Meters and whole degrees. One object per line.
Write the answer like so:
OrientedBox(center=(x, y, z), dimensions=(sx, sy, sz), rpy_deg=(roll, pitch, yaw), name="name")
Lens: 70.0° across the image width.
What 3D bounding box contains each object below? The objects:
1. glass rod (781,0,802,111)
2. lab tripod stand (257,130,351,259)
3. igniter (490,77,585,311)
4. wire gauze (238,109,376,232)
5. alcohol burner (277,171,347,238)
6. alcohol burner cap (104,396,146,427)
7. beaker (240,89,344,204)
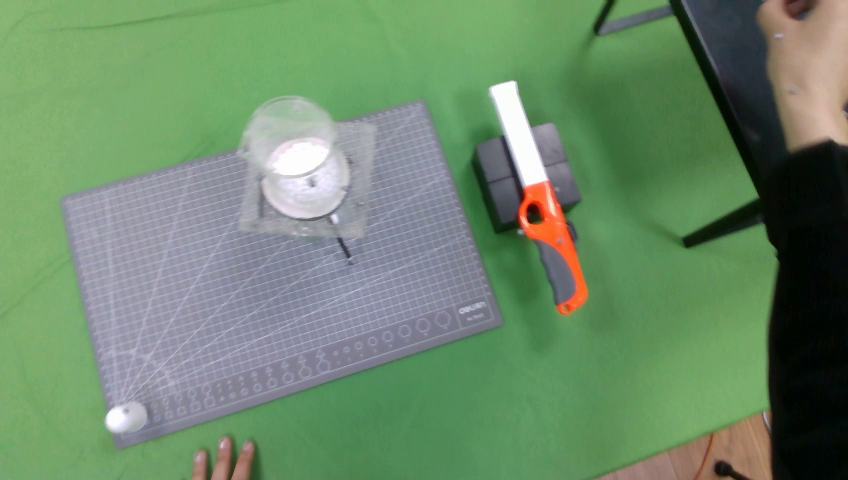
OrientedBox(center=(0.315, -0.207, 0.527), dimensions=(0.008, 0.008, 0.201), rpy_deg=(-25, 112, -8), name="glass rod")
OrientedBox(center=(-0.121, -0.057, 0.661), dimensions=(0.148, 0.132, 0.147), rpy_deg=(1, 76, -3), name="lab tripod stand")
OrientedBox(center=(0.128, -0.056, 0.687), dimensions=(0.057, 0.025, 0.275), rpy_deg=(-15, 78, -4), name="igniter")
OrientedBox(center=(-0.113, -0.069, 0.597), dimensions=(0.121, 0.011, 0.124), rpy_deg=(6, 74, -5), name="wire gauze")
OrientedBox(center=(-0.126, -0.044, 0.668), dimensions=(0.078, 0.119, 0.077), rpy_deg=(1, 80, -3), name="alcohol burner")
OrientedBox(center=(-0.321, 0.183, 0.643), dimensions=(0.034, 0.048, 0.033), rpy_deg=(1, 78, -4), name="alcohol burner cap")
OrientedBox(center=(-0.114, -0.078, 0.549), dimensions=(0.084, 0.100, 0.073), rpy_deg=(-17, 77, -6), name="beaker")
